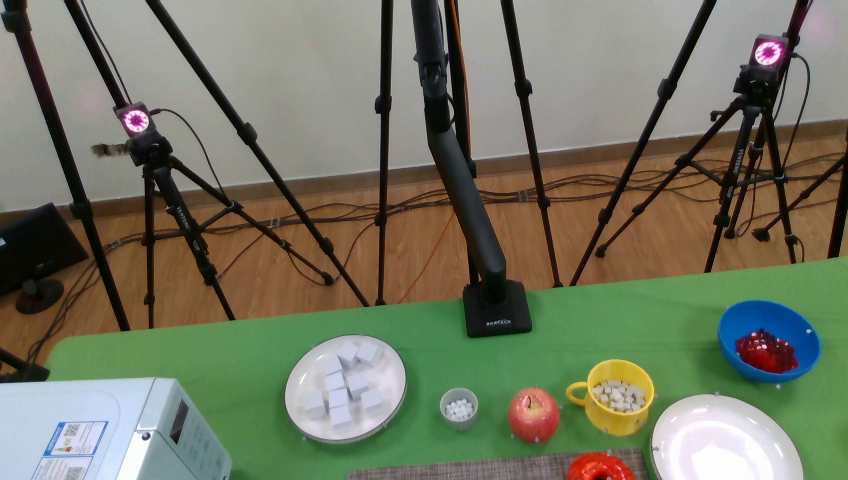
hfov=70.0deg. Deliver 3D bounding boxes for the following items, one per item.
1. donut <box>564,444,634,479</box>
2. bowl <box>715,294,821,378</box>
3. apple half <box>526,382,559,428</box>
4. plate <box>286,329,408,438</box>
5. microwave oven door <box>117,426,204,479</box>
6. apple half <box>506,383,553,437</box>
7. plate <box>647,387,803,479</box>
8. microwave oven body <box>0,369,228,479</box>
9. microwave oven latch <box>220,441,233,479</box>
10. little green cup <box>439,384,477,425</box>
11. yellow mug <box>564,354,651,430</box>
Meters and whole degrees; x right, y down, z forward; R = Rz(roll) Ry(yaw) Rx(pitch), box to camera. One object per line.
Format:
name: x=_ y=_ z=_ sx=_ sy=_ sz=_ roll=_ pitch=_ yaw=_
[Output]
donut: x=0.251 y=0.342 z=0.874 sx=0.099 sy=0.049 sz=0.098 roll=-5 pitch=45 yaw=6
bowl: x=0.547 y=0.169 z=0.987 sx=0.151 sy=0.077 sz=0.150 roll=-4 pitch=45 yaw=5
apple half: x=0.191 y=0.256 z=0.953 sx=0.033 sy=0.082 sz=0.080 roll=-28 pitch=48 yaw=-13
plate: x=-0.129 y=0.246 z=1.034 sx=0.207 sy=0.039 sz=0.205 roll=-4 pitch=45 yaw=4
microwave oven door: x=-0.333 y=0.433 z=0.701 sx=0.039 sy=0.246 sz=0.352 roll=-4 pitch=45 yaw=5
apple half: x=0.157 y=0.272 z=0.943 sx=0.053 sy=0.075 sz=0.080 roll=-28 pitch=51 yaw=-12
plate: x=0.434 y=0.315 z=0.886 sx=0.209 sy=0.038 sz=0.207 roll=-4 pitch=45 yaw=4
microwave oven body: x=-0.477 y=0.416 z=0.746 sx=0.326 sy=0.263 sz=0.437 roll=-3 pitch=46 yaw=4
microwave oven latch: x=-0.316 y=0.351 z=0.927 sx=0.030 sy=0.030 sz=0.078 roll=-2 pitch=46 yaw=6
little green cup: x=0.056 y=0.269 z=0.984 sx=0.061 sy=0.039 sz=0.061 roll=-4 pitch=45 yaw=4
yellow mug: x=0.289 y=0.239 z=0.962 sx=0.130 sy=0.064 sz=0.099 roll=2 pitch=45 yaw=11
